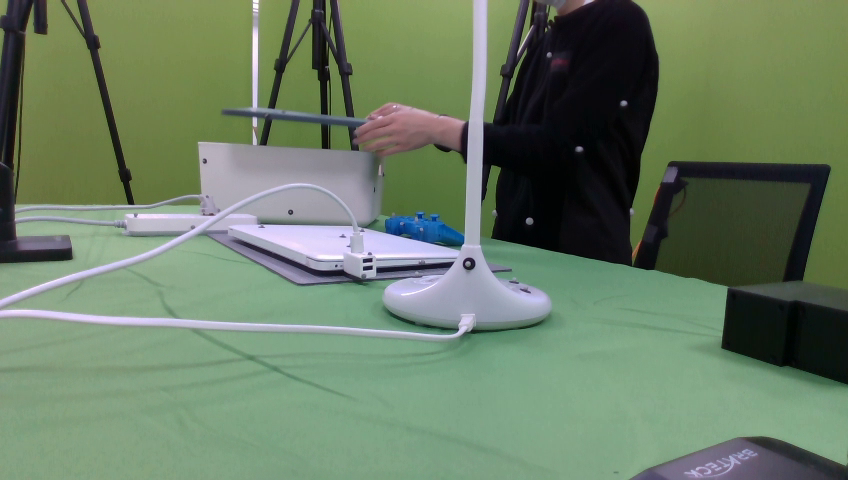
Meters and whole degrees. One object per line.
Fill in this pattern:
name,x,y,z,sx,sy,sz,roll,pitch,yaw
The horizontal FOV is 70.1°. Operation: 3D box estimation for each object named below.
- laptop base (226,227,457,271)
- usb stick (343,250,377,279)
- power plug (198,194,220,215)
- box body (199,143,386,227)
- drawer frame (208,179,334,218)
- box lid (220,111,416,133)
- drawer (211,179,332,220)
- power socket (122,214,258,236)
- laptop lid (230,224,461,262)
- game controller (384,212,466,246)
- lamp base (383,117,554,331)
laptop base,-0.123,0.011,0.888,0.237,0.023,0.352,2,6,-35
usb stick,-0.076,0.026,0.687,0.021,0.027,0.059,-8,9,-31
power plug,-0.387,-0.056,1.089,0.035,0.052,0.072,-1,7,-22
box body,-0.276,-0.124,1.335,0.364,0.160,0.254,3,7,1
drawer frame,-0.327,-0.093,1.328,0.213,0.082,0.202,-1,5,6
box lid,-0.202,-0.243,1.237,0.372,0.015,0.263,4,12,-3
drawer,-0.327,-0.096,1.333,0.212,0.073,0.194,5,9,6
power socket,-0.399,-0.028,1.049,0.228,0.032,0.072,-3,8,-34
laptop lid,-0.120,0.000,0.889,0.243,0.013,0.355,1,7,-33
game controller,-0.003,-0.021,1.074,0.097,0.051,0.154,-4,9,-32
lamp base,0.045,-0.019,0.547,0.161,0.180,0.179,2,10,-4
